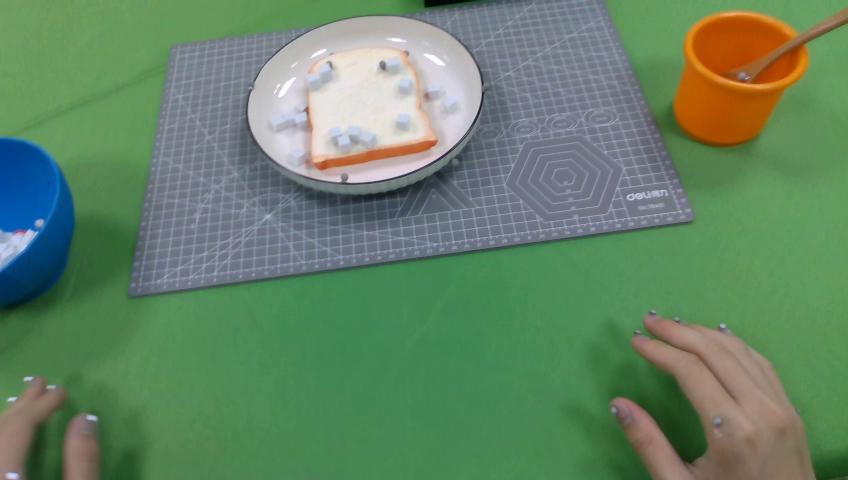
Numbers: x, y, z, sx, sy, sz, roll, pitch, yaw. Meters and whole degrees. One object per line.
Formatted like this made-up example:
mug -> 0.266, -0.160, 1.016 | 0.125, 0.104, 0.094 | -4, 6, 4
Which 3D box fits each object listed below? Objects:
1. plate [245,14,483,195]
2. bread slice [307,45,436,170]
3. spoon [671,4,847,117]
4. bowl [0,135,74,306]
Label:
plate -> -0.053, -0.121, 0.542 | 0.209, 0.038, 0.207 | -2, 58, 4
bread slice -> -0.056, -0.123, 0.546 | 0.107, 0.018, 0.133 | -14, 59, -3
spoon -> 0.285, -0.150, 0.467 | 0.022, 0.193, 0.041 | 23, 54, -34
bowl -> -0.337, 0.001, 0.471 | 0.151, 0.077, 0.150 | -2, 58, 4
